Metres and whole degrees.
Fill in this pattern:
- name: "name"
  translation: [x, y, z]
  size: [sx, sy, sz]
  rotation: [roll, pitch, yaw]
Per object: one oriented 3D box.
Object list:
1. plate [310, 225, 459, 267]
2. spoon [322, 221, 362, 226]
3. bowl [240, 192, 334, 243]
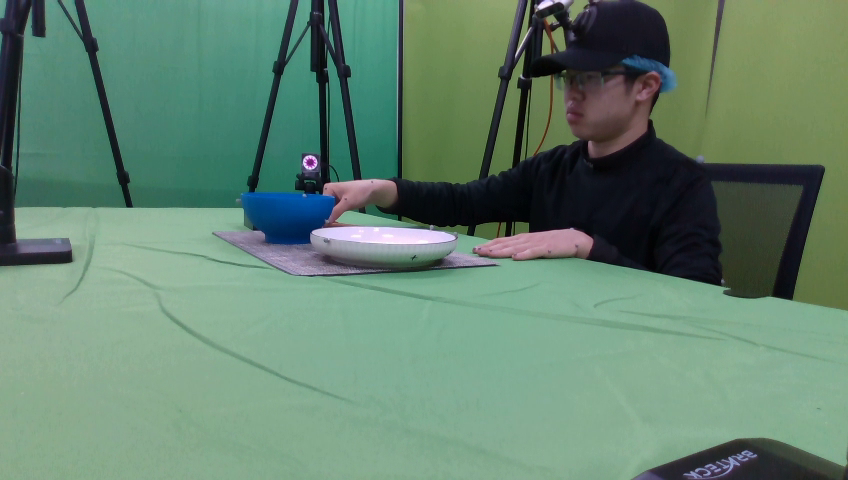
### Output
- name: "plate"
  translation: [-0.055, 0.008, 0.851]
  size: [0.208, 0.039, 0.207]
  rotation: [2, 7, 0]
- name: "spoon"
  translation: [-0.196, -0.028, 1.147]
  size: [0.195, 0.021, 0.041]
  rotation: [-3, 4, -29]
- name: "bowl"
  translation: [-0.223, -0.037, 0.992]
  size: [0.151, 0.077, 0.151]
  rotation: [2, 7, 0]
